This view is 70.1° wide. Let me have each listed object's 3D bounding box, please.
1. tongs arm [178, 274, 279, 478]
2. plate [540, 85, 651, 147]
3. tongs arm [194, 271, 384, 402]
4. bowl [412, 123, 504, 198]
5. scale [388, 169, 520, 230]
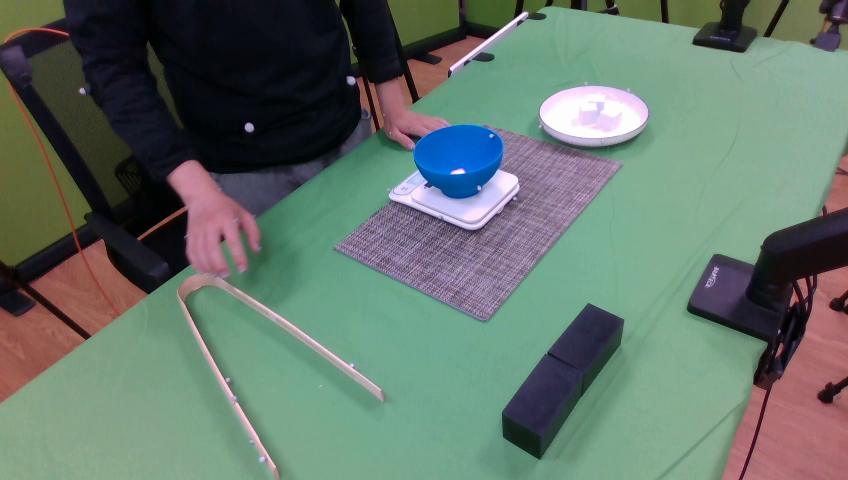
[{"bbox_3d":[-0.260,0.161,0.807,0.051,0.026,0.381,-29,44,-25],"label":"tongs arm"},{"bbox_3d":[0.333,-0.238,1.186,0.207,0.039,0.206,-4,41,4],"label":"plate"},{"bbox_3d":[-0.199,0.125,0.846,0.384,0.028,0.028,25,53,32],"label":"tongs arm"},{"bbox_3d":[0.059,-0.123,1.007,0.151,0.077,0.150,-5,41,5],"label":"bowl"},{"bbox_3d":[0.050,-0.090,1.051,0.199,0.032,0.149,24,49,31],"label":"scale"}]
